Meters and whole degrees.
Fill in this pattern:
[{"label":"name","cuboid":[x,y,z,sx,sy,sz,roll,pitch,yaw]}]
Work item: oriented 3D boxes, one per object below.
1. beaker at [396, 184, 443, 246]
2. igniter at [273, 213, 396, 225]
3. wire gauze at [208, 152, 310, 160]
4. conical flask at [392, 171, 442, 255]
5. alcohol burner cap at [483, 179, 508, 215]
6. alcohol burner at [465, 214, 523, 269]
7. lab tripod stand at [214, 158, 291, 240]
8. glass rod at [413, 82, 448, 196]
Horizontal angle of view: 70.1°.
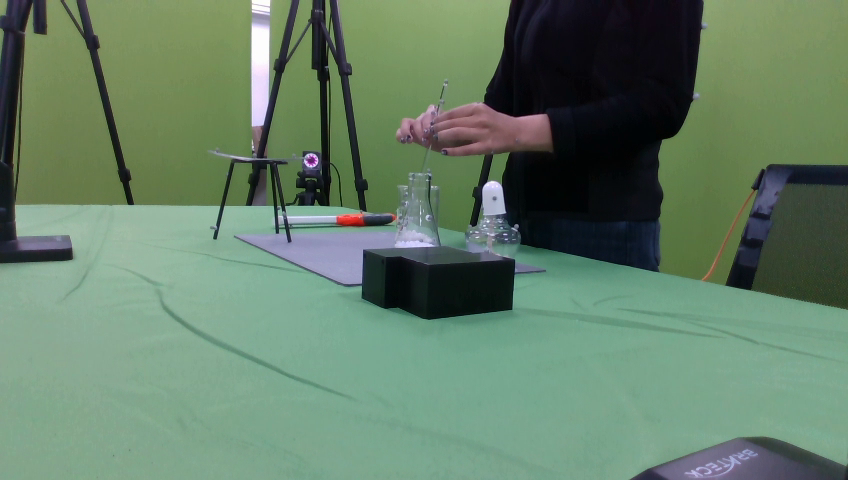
[{"label":"beaker","cuboid":[-0.011,-0.043,1.005,0.083,0.100,0.074,8,9,38]},{"label":"igniter","cuboid":[-0.178,-0.044,1.258,0.278,0.025,0.057,-3,-1,-39]},{"label":"wire gauze","cuboid":[-0.270,-0.135,0.993,0.124,0.011,0.122,8,8,41]},{"label":"conical flask","cuboid":[-0.008,-0.041,0.903,0.075,0.122,0.075,2,7,0]},{"label":"alcohol burner cap","cuboid":[0.094,-0.057,0.810,0.034,0.048,0.034,-8,6,1]},{"label":"alcohol burner","cuboid":[0.094,-0.022,0.815,0.078,0.119,0.078,0,7,0]},{"label":"lab tripod stand","cuboid":[-0.268,-0.068,1.002,0.148,0.131,0.148,3,6,0]},{"label":"glass rod","cuboid":[0.009,-0.161,0.985,0.008,0.199,0.008,13,27,-7]}]
